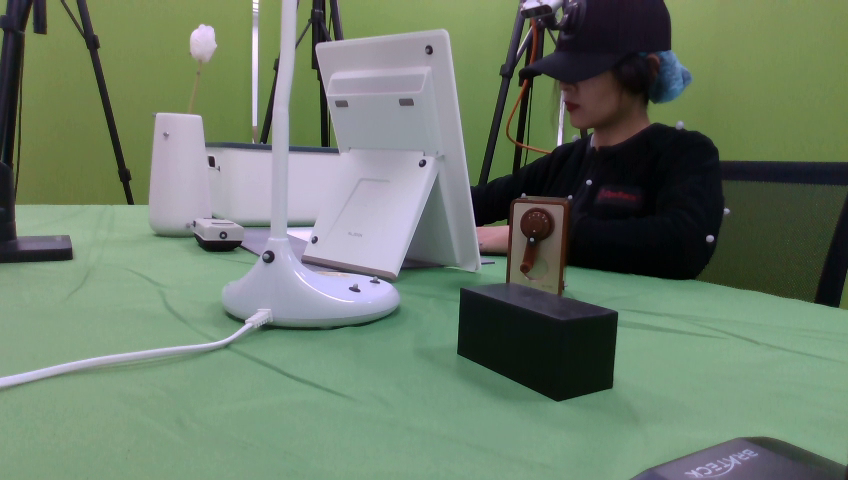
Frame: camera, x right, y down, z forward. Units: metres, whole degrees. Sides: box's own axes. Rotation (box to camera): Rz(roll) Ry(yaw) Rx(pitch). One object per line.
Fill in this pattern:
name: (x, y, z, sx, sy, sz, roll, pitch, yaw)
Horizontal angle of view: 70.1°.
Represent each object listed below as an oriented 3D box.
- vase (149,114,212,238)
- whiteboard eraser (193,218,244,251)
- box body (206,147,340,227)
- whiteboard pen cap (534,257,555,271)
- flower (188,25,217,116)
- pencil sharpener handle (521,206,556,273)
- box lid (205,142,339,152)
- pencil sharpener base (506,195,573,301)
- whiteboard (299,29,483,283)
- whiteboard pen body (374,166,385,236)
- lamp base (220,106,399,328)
vase: (-0.405, -0.106, 1.005, 0.098, 0.200, 0.098, 2, 6, 0)
whiteboard eraser: (-0.307, -0.010, 0.900, 0.056, 0.042, 0.112, -4, 11, -28)
box body: (-0.276, -0.122, 1.320, 0.366, 0.160, 0.253, -2, 9, -30)
whiteboard pen cap: (0.166, 0.033, 0.839, 0.018, 0.018, 0.033, -1, 6, -23)
flower: (-0.394, -0.189, 1.011, 0.044, 0.361, 0.038, -1, -13, 27)
pencil sharpener handle: (0.111, 0.000, 0.613, 0.036, 0.067, 0.031, 13, 10, 14)
box lid: (-0.270, -0.196, 1.311, 0.373, 0.015, 0.262, -2, 9, -30)
pencil sharpener base: (0.127, 0.007, 0.663, 0.061, 0.107, 0.077, 5, 8, 15)
whiteboard: (-0.074, -0.082, 0.742, 0.216, 0.305, 0.144, 9, 29, 38)
whiteboard pen body: (-0.084, -0.074, 1.128, 0.017, 0.140, 0.017, 1, -21, 1)
lamp base: (-0.102, -0.023, 0.531, 0.160, 0.180, 0.179, 4, 10, 10)
